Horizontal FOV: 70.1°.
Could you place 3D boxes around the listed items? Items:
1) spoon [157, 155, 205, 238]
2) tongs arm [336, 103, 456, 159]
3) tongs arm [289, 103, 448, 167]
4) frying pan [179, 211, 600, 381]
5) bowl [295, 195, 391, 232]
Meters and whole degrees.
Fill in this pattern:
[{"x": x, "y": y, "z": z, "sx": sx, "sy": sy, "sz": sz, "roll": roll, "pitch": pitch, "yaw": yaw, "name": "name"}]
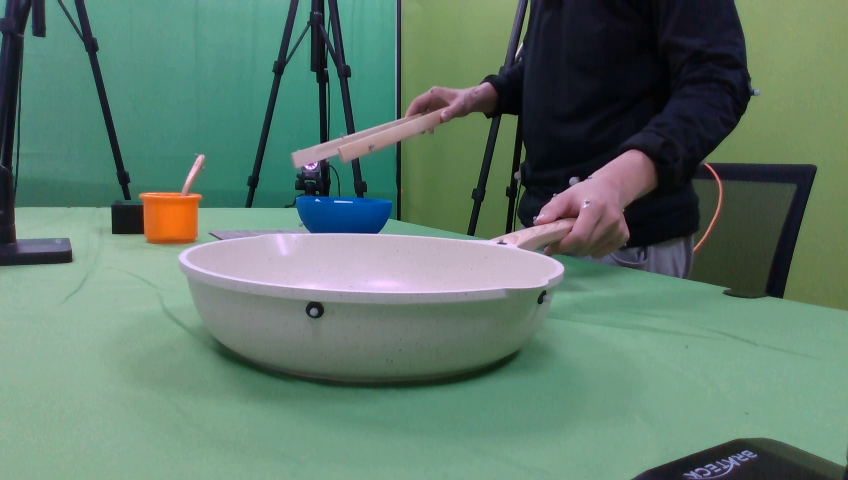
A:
[{"x": -0.392, "y": -0.076, "z": 0.998, "sx": 0.041, "sy": 0.193, "sz": 0.021, "roll": 2, "pitch": -37, "yaw": 5, "name": "spoon"}, {"x": -0.033, "y": -0.195, "z": 1.038, "sx": 0.028, "sy": 0.028, "sz": 0.389, "roll": -11, "pitch": 14, "yaw": 34, "name": "tongs arm"}, {"x": -0.079, "y": -0.192, "z": 1.074, "sx": 0.050, "sy": 0.026, "sz": 0.386, "roll": -4, "pitch": 17, "yaw": 39, "name": "tongs arm"}, {"x": 0.034, "y": 0.019, "z": 0.557, "sx": 0.305, "sy": 0.102, "sz": 0.490, "roll": 11, "pitch": 19, "yaw": 44, "name": "frying pan"}, {"x": -0.127, "y": -0.028, "z": 0.946, "sx": 0.151, "sy": 0.077, "sz": 0.151, "roll": 2, "pitch": 7, "yaw": 0, "name": "bowl"}]
